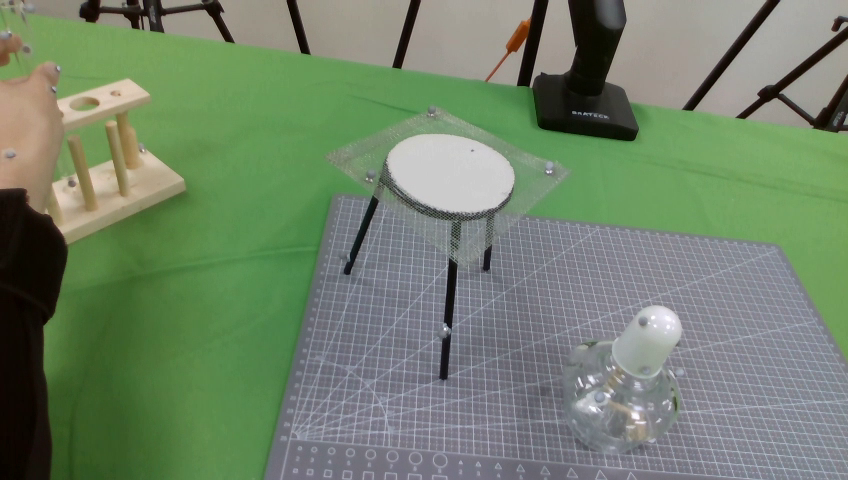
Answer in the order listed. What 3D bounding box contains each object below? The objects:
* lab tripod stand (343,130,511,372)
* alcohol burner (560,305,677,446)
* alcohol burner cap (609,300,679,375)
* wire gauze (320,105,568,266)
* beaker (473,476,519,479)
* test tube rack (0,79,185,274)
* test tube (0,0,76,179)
[{"bbox_3d":[0.009,0.001,0.447,0.149,0.132,0.147,7,43,-6],"label":"lab tripod stand"},{"bbox_3d":[0.133,0.083,0.397,0.078,0.120,0.077,7,41,-5],"label":"alcohol burner"},{"bbox_3d":[0.137,0.058,0.372,0.034,0.048,0.033,5,46,-5],"label":"alcohol burner cap"},{"bbox_3d":[0.015,-0.048,0.401,0.124,0.011,0.121,35,49,23],"label":"wire gauze"},{"bbox_3d":[0.026,0.174,0.294,0.084,0.101,0.073,-1,43,-10],"label":"beaker"},{"bbox_3d":[-0.317,-0.039,0.469,0.066,0.086,0.242,34,48,24],"label":"test tube rack"},{"bbox_3d":[-0.296,-0.111,0.466,0.017,0.151,0.017,4,41,-3],"label":"test tube"}]
